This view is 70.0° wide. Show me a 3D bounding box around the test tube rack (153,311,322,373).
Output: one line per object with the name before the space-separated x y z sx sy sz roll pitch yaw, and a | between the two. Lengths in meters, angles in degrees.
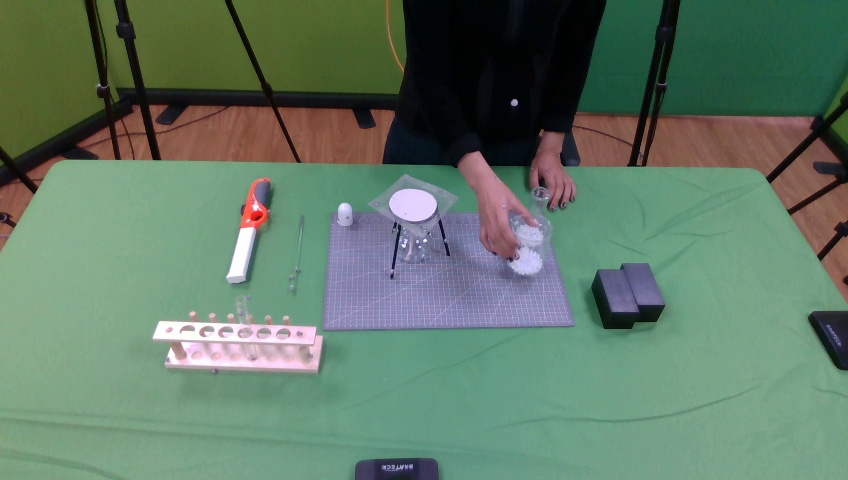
test tube rack | -0.293 0.160 0.978 0.242 0.085 0.066 3 46 -2

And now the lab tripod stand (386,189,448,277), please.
lab tripod stand | -0.021 -0.018 1.135 0.148 0.132 0.147 3 44 -3

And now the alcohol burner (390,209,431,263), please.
alcohol burner | -0.024 -0.014 1.144 0.078 0.119 0.077 4 45 -3

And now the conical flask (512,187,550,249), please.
conical flask | 0.217 -0.048 1.190 0.075 0.122 0.075 2 46 -2

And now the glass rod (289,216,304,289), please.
glass rod | -0.247 0.019 1.171 0.008 0.008 0.198 0 43 -3

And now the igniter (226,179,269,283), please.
igniter | -0.345 -0.027 1.195 0.057 0.025 0.274 -6 46 5

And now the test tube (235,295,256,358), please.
test tube | -0.274 0.136 0.933 0.017 0.151 0.017 4 45 -4

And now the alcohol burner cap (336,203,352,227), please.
alcohol burner cap | -0.162 -0.053 1.221 0.034 0.048 0.033 2 47 -2

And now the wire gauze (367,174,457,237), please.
wire gauze | -0.021 -0.068 1.088 0.124 0.011 0.121 28 49 20

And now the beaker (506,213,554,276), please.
beaker | 0.189 0.010 1.115 0.083 0.101 0.074 29 50 24
